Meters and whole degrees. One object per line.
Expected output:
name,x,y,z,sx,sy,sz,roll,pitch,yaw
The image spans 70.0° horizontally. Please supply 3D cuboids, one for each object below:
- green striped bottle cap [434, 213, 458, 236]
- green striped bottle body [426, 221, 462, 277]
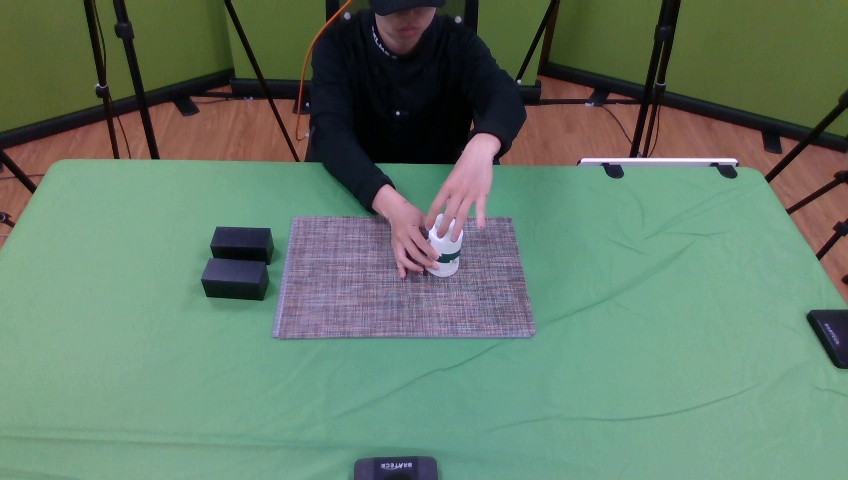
green striped bottle cap,0.040,-0.028,1.082,0.044,0.020,0.044,2,44,-2
green striped bottle body,0.037,0.007,1.121,0.063,0.120,0.063,2,46,-2
